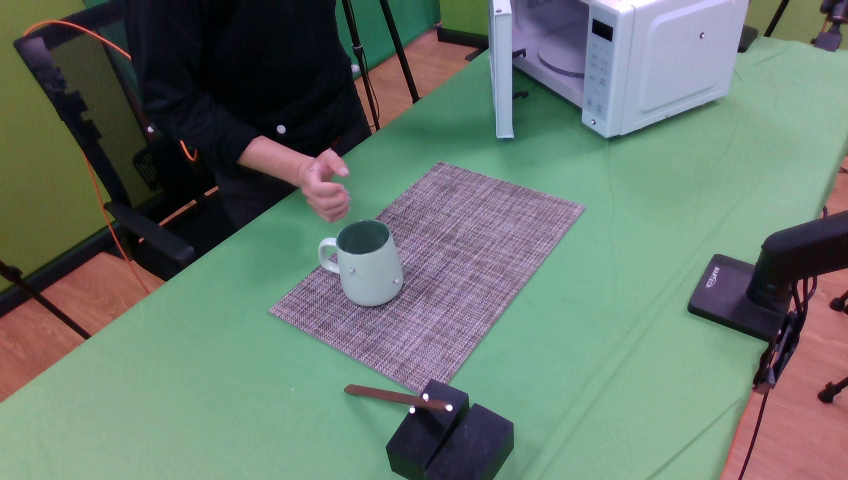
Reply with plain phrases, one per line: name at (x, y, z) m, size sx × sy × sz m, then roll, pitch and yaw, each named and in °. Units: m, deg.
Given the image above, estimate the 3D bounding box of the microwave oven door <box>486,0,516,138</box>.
microwave oven door at (0.153, -0.404, 1.222) m, size 0.039 × 0.245 × 0.354 m, roll -4°, pitch 41°, yaw 6°

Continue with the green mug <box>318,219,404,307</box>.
green mug at (-0.096, 0.032, 0.876) m, size 0.125 × 0.105 × 0.092 m, roll 8°, pitch 43°, yaw 17°

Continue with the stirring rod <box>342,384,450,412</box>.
stirring rod at (-0.038, 0.186, 0.714) m, size 0.175 × 0.006 × 0.014 m, roll -3°, pitch 22°, yaw 43°

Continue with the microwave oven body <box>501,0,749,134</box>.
microwave oven body at (0.382, -0.445, 1.246) m, size 0.327 × 0.261 × 0.437 m, roll -22°, pitch 42°, yaw -16°

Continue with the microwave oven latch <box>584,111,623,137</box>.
microwave oven latch at (0.337, -0.222, 1.142) m, size 0.030 × 0.029 × 0.078 m, roll -21°, pitch 42°, yaw -14°
